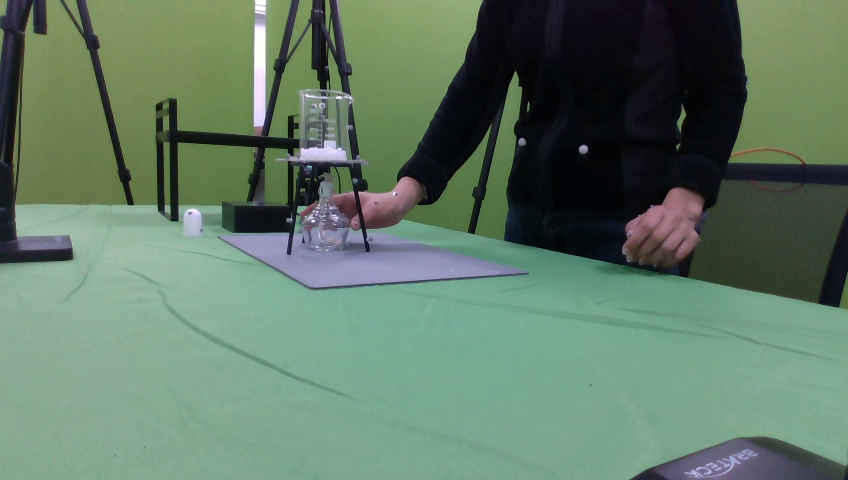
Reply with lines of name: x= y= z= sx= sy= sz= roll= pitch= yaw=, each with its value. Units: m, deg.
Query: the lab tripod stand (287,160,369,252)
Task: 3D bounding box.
lab tripod stand: x=-0.157 y=-0.053 z=0.901 sx=0.148 sy=0.131 sz=0.148 roll=0 pitch=7 yaw=0

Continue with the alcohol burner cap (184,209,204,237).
alcohol burner cap: x=-0.390 y=-0.029 z=1.025 sx=0.034 sy=0.048 sz=0.034 roll=2 pitch=8 yaw=0

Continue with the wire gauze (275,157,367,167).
wire gauze: x=-0.148 y=-0.117 z=0.895 sx=0.121 sy=0.011 sz=0.125 roll=3 pitch=5 yaw=-3

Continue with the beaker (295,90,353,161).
beaker: x=-0.146 y=-0.164 z=0.884 sx=0.084 sy=0.100 sz=0.074 roll=1 pitch=7 yaw=-6

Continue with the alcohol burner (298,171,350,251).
alcohol burner: x=-0.149 y=-0.044 z=0.911 sx=0.078 sy=0.119 sz=0.078 roll=2 pitch=5 yaw=0
